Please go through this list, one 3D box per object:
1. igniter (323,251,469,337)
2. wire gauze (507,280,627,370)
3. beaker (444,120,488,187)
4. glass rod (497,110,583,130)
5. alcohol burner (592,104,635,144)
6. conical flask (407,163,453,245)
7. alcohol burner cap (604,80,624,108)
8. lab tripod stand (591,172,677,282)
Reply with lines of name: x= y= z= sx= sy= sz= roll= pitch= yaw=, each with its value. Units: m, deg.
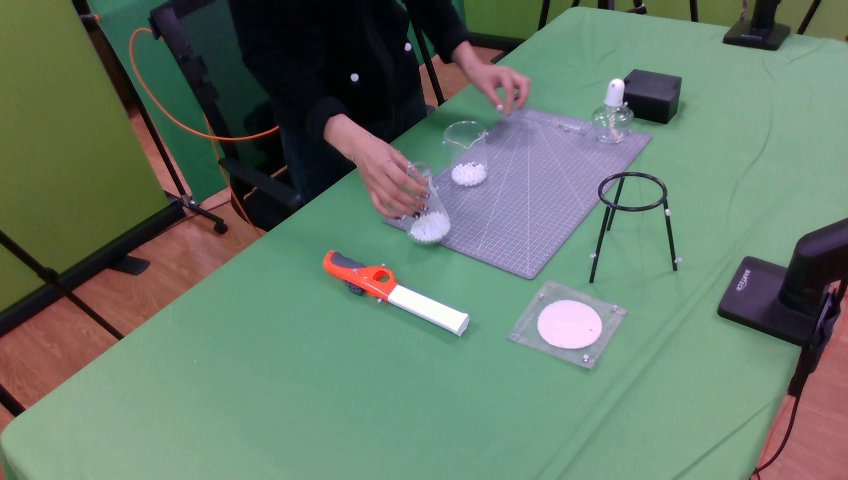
igniter: x=-0.052 y=0.075 z=0.901 sx=0.274 sy=0.025 sz=0.057 roll=22 pitch=60 yaw=32
wire gauze: x=0.196 y=0.114 z=0.823 sx=0.120 sy=0.011 sz=0.125 roll=20 pitch=50 yaw=31
beaker: x=0.078 y=-0.150 z=1.083 sx=0.074 sy=0.101 sz=0.083 roll=-9 pitch=41 yaw=1
glass rod: x=0.233 y=-0.245 z=1.235 sx=0.198 sy=0.008 sz=0.008 roll=21 pitch=49 yaw=34
alcohol burner: x=0.353 y=-0.242 z=1.126 sx=0.078 sy=0.119 sz=0.077 roll=-5 pitch=38 yaw=5
conical flask: x=0.002 y=-0.058 z=0.939 sx=0.075 sy=0.122 sz=0.075 roll=-6 pitch=37 yaw=5
alcohol burner cap: x=0.350 y=-0.269 z=1.102 sx=0.034 sy=0.048 sz=0.033 roll=-2 pitch=46 yaw=2
lab tripod stand: x=0.292 y=-0.022 z=0.867 sx=0.148 sy=0.132 sz=0.147 roll=-7 pitch=39 yaw=6
